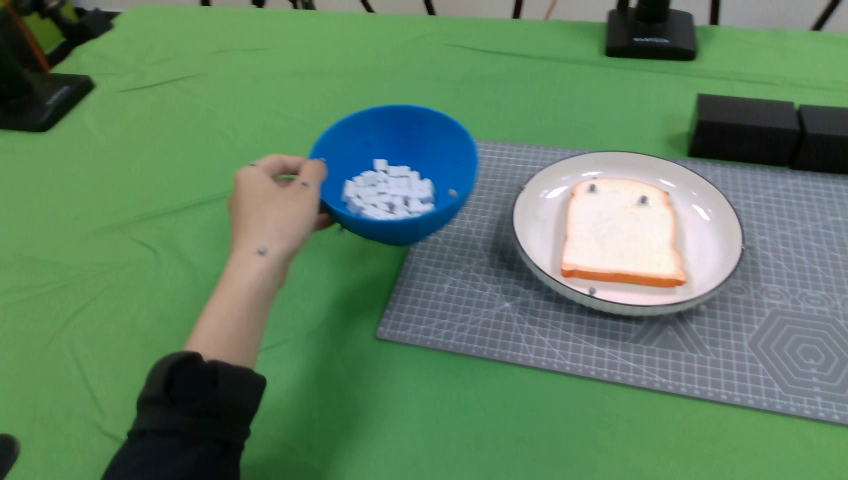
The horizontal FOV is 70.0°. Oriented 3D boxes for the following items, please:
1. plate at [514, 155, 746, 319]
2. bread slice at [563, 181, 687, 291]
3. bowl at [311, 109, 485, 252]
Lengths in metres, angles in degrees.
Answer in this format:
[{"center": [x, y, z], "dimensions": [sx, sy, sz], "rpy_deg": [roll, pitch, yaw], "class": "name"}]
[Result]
[{"center": [0.190, -0.004, 0.580], "dimensions": [0.209, 0.038, 0.207], "rpy_deg": [-3, 46, 4], "class": "plate"}, {"center": [0.189, -0.007, 0.586], "dimensions": [0.107, 0.018, 0.133], "rpy_deg": [3, 48, 9], "class": "bread slice"}, {"center": [-0.021, -0.042, 0.551], "dimensions": [0.151, 0.077, 0.150], "rpy_deg": [-2, 50, 2], "class": "bowl"}]
